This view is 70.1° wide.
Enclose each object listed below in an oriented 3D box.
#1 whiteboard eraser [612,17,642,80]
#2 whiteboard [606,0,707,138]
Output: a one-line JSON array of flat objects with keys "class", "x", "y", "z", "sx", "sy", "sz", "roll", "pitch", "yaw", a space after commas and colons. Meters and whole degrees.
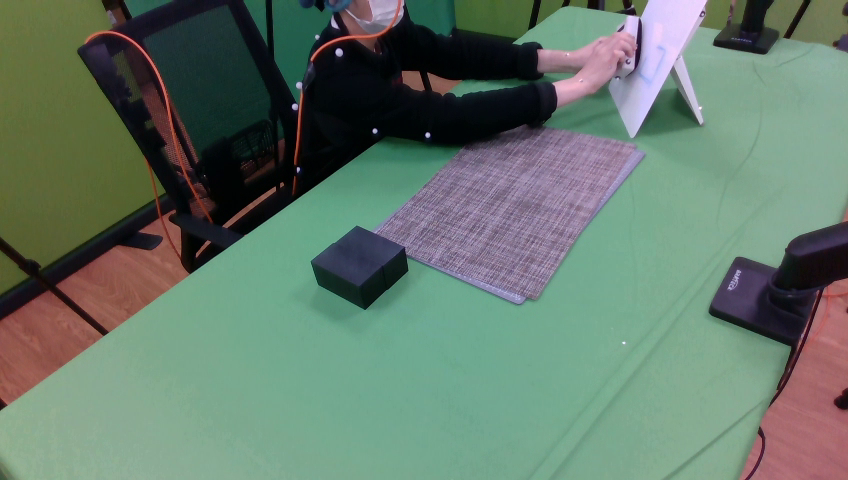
[{"class": "whiteboard eraser", "x": 0.404, "y": -0.379, "z": 1.201, "sx": 0.042, "sy": 0.055, "sz": 0.112, "roll": 10, "pitch": 80, "yaw": -10}, {"class": "whiteboard", "x": 0.496, "y": -0.359, "z": 1.147, "sx": 0.144, "sy": 0.305, "sz": 0.216, "roll": 11, "pitch": 40, "yaw": -7}]
